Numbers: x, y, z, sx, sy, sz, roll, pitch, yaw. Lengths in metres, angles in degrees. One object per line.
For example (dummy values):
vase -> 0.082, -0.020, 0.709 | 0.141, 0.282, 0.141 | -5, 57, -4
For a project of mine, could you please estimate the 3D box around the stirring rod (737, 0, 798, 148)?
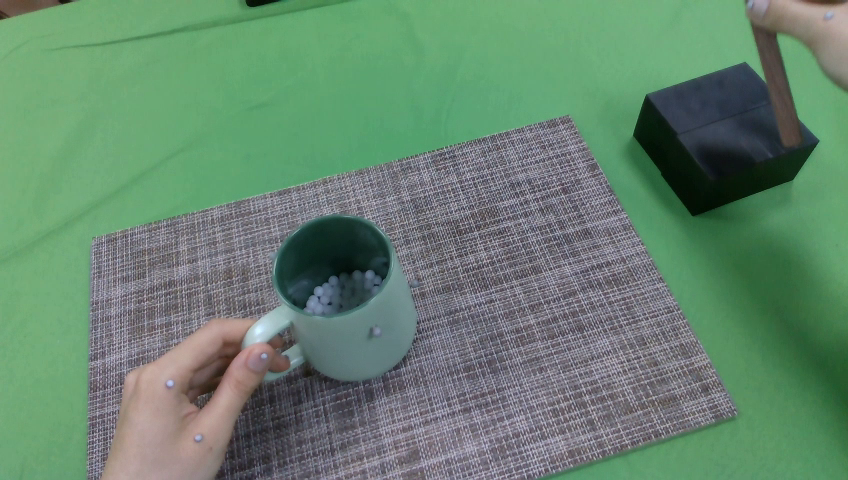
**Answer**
stirring rod -> 0.241, -0.152, 0.439 | 0.006, 0.014, 0.176 | -20, 94, -44

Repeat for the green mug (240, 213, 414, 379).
green mug -> -0.069, 0.051, 0.423 | 0.125, 0.106, 0.091 | -36, 62, -17
